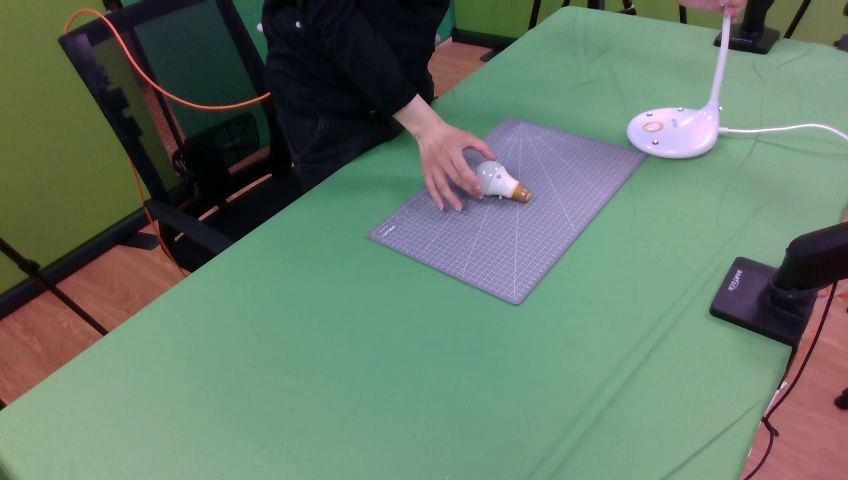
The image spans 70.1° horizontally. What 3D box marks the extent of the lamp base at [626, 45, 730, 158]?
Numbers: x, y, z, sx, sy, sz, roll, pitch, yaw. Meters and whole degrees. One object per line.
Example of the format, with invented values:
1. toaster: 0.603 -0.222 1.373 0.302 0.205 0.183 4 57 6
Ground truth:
1. lamp base: 0.468 -0.262 1.085 0.179 0.181 0.159 -4 41 -1

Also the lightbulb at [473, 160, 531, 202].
1. lightbulb: 0.135 -0.097 1.038 0.107 0.059 0.059 30 51 15
